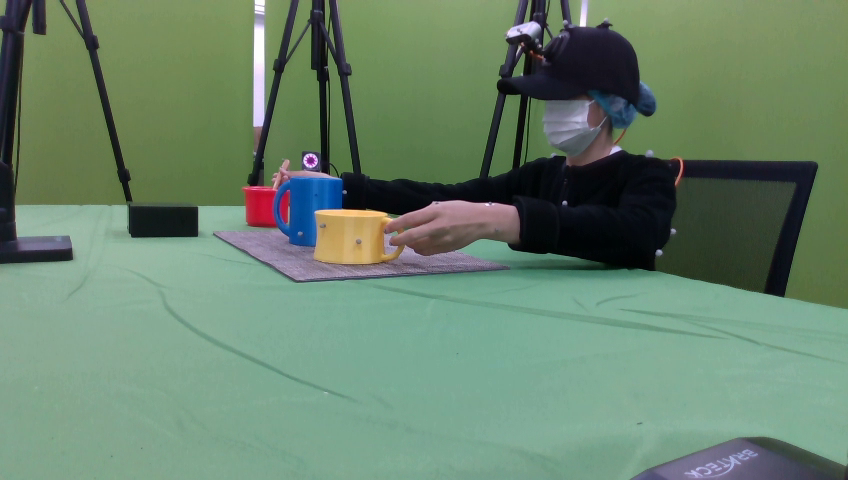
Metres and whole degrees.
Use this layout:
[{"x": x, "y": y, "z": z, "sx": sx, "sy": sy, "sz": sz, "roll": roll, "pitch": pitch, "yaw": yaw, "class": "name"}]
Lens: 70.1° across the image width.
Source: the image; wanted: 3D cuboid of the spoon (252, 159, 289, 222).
[{"x": -0.308, "y": -0.104, "z": 1.244, "sx": 0.041, "sy": 0.021, "sz": 0.193, "roll": 5, "pitch": 51, "yaw": 7, "class": "spoon"}]

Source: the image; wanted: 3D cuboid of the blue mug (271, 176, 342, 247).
[{"x": -0.190, "y": -0.047, "z": 0.963, "sx": 0.116, "sy": 0.106, "sz": 0.082, "roll": 4, "pitch": 7, "yaw": 13, "class": "blue mug"}]

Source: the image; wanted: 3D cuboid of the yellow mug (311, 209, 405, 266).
[{"x": -0.086, "y": -0.004, "z": 0.817, "sx": 0.130, "sy": 0.064, "sz": 0.100, "roll": 6, "pitch": 7, "yaw": 18, "class": "yellow mug"}]
